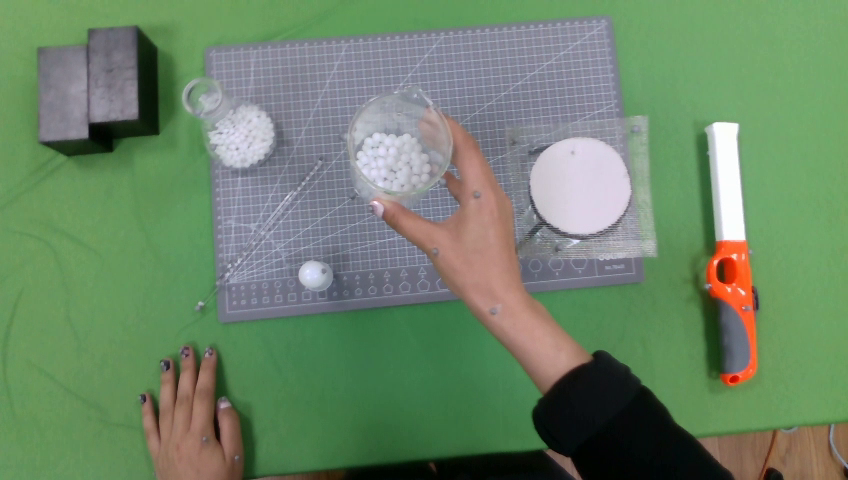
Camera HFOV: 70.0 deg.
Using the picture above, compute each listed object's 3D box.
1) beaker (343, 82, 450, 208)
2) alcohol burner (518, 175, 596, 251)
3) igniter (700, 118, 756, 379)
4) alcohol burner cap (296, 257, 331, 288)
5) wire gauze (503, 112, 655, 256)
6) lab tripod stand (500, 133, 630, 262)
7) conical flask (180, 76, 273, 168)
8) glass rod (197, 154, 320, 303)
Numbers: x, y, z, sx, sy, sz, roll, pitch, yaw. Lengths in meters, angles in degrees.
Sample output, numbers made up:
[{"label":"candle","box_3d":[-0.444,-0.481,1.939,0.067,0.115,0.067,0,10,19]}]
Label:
[{"label":"beaker","box_3d":[-0.024,-0.067,0.466,0.074,0.100,0.084,16,83,-6]},{"label":"alcohol burner","box_3d":[0.134,-0.029,0.595,0.078,0.119,0.077,0,84,1]},{"label":"igniter","box_3d":[0.320,0.007,0.641,0.057,0.025,0.275,0,84,-12]},{"label":"alcohol burner cap","box_3d":[-0.114,0.032,0.619,0.034,0.048,0.034,0,84,-1]},{"label":"wire gauze","box_3d":[0.133,-0.047,0.519,0.125,0.011,0.121,-3,85,-1]},{"label":"lab tripod stand","box_3d":[0.132,-0.037,0.586,0.148,0.131,0.148,0,85,-1]},{"label":"conical flask","box_3d":[-0.198,-0.120,0.593,0.075,0.122,0.075,0,83,-1]},{"label":"glass rod","box_3d":[-0.173,-0.014,0.638,0.008,0.008,0.199,37,84,3]}]
